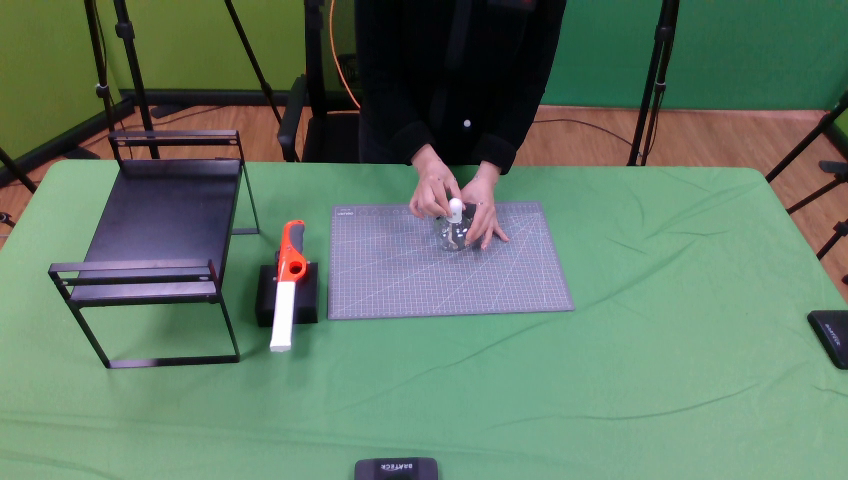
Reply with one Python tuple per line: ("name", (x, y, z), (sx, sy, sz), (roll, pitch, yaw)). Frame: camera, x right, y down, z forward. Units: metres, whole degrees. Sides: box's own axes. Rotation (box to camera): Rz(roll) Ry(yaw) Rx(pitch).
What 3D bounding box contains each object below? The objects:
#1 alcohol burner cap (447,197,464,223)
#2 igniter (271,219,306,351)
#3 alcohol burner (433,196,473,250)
("alcohol burner cap", (0.059, -0.060, 1.146), (0.034, 0.048, 0.033), (-2, 45, 2))
("igniter", (-0.235, 0.067, 1.047), (0.057, 0.025, 0.274), (0, 49, -6))
("alcohol burner", (0.057, -0.038, 1.170), (0.078, 0.119, 0.077), (3, 44, -3))
